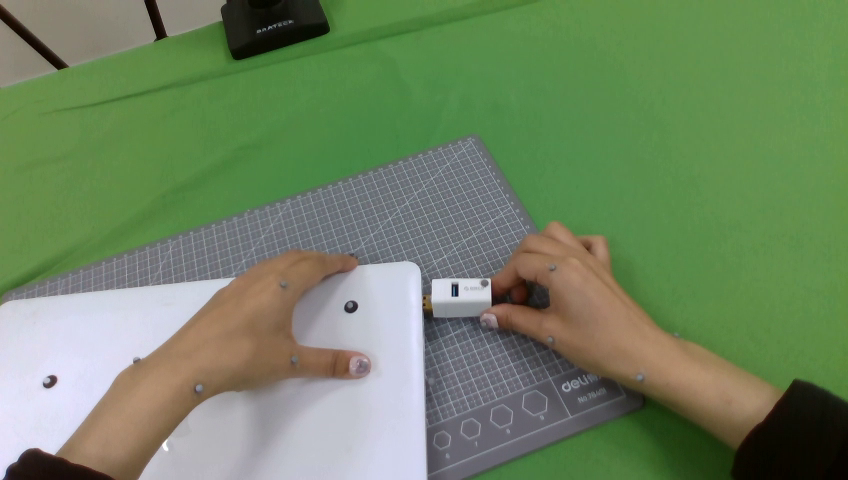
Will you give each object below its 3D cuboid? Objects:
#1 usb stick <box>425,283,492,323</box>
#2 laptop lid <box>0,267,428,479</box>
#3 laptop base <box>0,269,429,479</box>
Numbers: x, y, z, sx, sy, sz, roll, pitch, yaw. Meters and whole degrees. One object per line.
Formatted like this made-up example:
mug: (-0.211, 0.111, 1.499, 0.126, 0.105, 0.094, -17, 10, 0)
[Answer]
usb stick: (0.022, 0.047, 0.450, 0.059, 0.027, 0.021, -2, 52, 8)
laptop lid: (-0.173, 0.131, 0.418, 0.356, 0.013, 0.239, -4, 54, 6)
laptop base: (-0.171, 0.136, 0.429, 0.354, 0.023, 0.233, -6, 55, 5)
